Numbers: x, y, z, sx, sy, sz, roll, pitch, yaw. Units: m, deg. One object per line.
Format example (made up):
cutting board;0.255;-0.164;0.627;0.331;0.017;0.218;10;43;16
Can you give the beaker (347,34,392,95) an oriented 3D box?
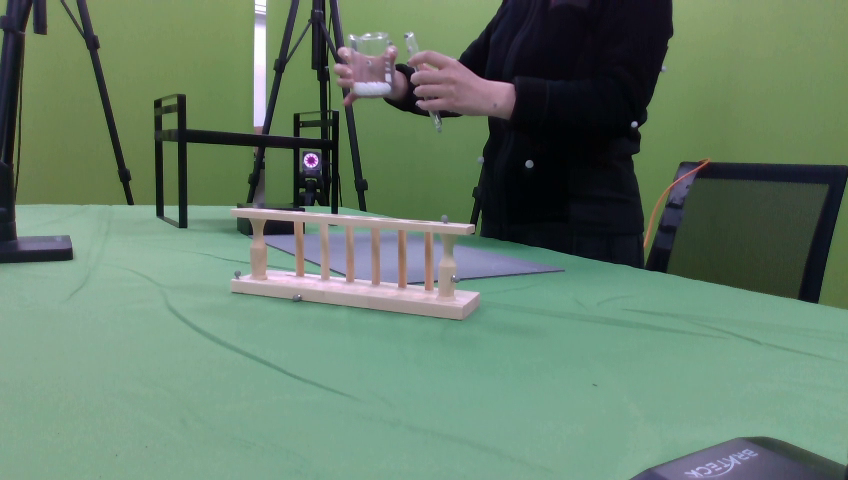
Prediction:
beaker;-0.095;-0.306;1.059;0.074;0.100;0.084;0;15;12

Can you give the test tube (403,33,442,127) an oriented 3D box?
test tube;-0.001;-0.246;0.932;0.017;0.150;0.017;-19;1;1

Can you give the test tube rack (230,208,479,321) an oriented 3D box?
test tube rack;-0.069;0.017;0.598;0.242;0.085;0.067;5;8;18
